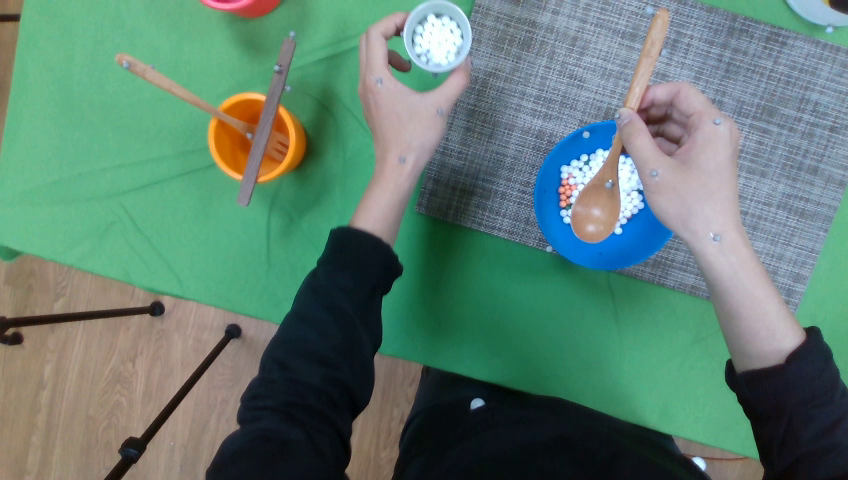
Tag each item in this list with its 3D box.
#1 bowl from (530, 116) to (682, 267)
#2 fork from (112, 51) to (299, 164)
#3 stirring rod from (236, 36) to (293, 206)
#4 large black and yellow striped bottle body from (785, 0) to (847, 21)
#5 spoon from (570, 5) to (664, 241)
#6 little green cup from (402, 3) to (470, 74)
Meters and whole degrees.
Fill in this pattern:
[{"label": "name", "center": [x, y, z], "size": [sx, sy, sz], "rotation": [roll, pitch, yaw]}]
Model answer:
[{"label": "bowl", "center": [0.184, -0.052, 0.644], "size": [0.151, 0.076, 0.151], "rotation": [0, 99, 3]}, {"label": "fork", "center": [-0.215, -0.131, 0.619], "size": [0.209, 0.018, 0.028], "rotation": [28, 105, -45]}, {"label": "stirring rod", "center": [-0.163, -0.119, 0.616], "size": [0.014, 0.006, 0.176], "rotation": [18, 99, 0]}, {"label": "large black and yellow striped bottle body", "center": [0.424, -0.283, 0.548], "size": [0.131, 0.183, 0.131], "rotation": [0, 98, 3]}, {"label": "spoon", "center": [0.157, -0.085, 0.485], "size": [0.041, 0.021, 0.195], "rotation": [26, 128, 26]}, {"label": "little green cup", "center": [0.011, -0.183, 0.561], "size": [0.061, 0.038, 0.061], "rotation": [0, 98, 1]}]
